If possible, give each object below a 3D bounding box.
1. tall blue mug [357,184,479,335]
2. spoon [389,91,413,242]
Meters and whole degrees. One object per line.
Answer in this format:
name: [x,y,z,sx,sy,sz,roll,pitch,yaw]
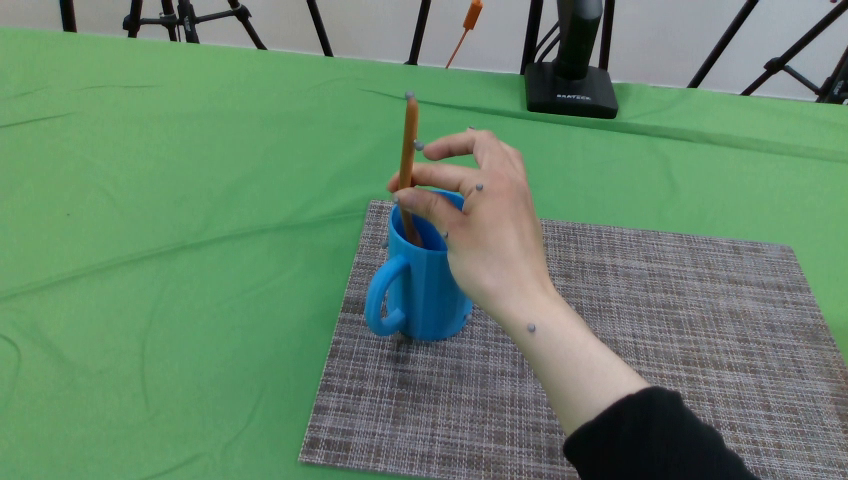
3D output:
tall blue mug: [-0.003,0.028,0.501,0.077,0.109,0.106,13,45,7]
spoon: [-0.018,-0.027,0.447,0.021,0.195,0.041,-2,51,-2]
